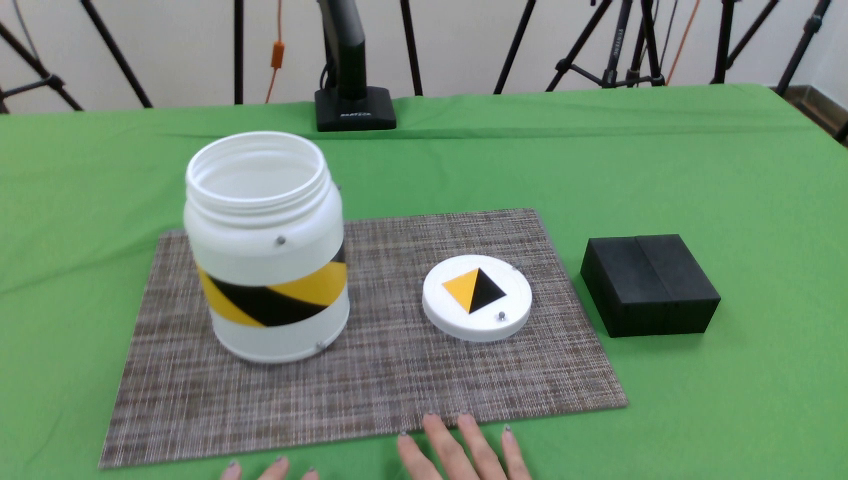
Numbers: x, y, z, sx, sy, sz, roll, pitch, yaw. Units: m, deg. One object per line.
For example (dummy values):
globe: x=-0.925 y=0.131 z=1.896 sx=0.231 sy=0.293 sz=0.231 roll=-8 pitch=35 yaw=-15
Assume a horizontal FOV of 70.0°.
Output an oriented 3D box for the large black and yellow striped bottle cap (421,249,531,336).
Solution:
large black and yellow striped bottle cap: x=0.054 y=0.052 z=0.635 sx=0.115 sy=0.019 sz=0.114 roll=1 pitch=40 yaw=-1

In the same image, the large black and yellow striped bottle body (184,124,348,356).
large black and yellow striped bottle body: x=-0.138 y=0.001 z=0.550 sx=0.131 sy=0.185 sz=0.129 roll=2 pitch=40 yaw=-1
